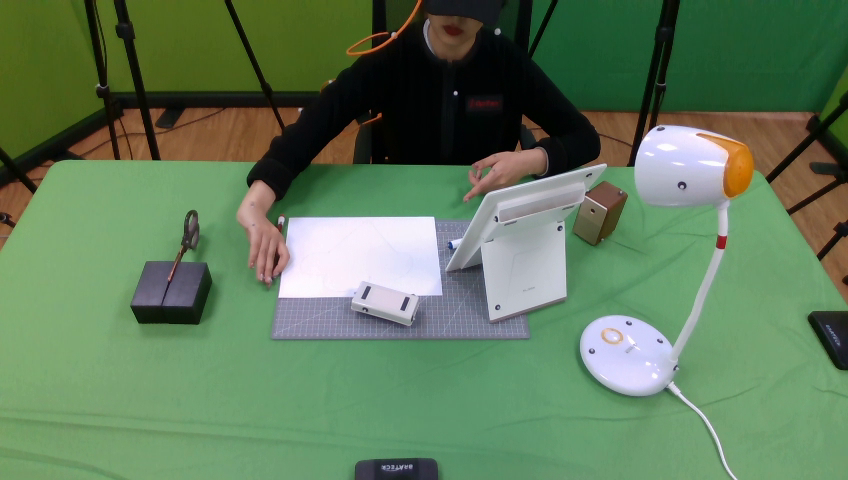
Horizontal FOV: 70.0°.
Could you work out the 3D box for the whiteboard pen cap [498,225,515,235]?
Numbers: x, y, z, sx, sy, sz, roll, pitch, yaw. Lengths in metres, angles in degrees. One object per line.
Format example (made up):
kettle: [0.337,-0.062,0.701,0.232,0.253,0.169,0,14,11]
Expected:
whiteboard pen cap: [0.166,-0.019,1.222,0.033,0.018,0.018,-14,49,-19]

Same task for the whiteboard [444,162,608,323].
whiteboard: [0.186,0.025,1.029,0.217,0.306,0.143,-14,68,-18]

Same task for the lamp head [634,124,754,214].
lamp head: [0.351,-0.089,0.775,0.112,0.113,0.122,-30,30,-28]

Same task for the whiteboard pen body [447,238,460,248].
whiteboard pen body: [0.112,-0.005,1.204,0.141,0.017,0.017,-13,49,-18]

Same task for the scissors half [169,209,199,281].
scissors half: [-0.438,0.007,1.098,0.013,0.040,0.174,3,48,-3]

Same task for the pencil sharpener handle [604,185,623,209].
pencil sharpener handle: [0.390,-0.091,1.235,0.030,0.068,0.036,-33,69,-31]

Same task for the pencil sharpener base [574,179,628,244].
pencil sharpener base: [0.355,-0.057,1.217,0.076,0.107,0.061,-33,56,-31]

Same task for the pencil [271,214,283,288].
pencil: [-0.282,0.018,1.162,0.012,0.012,0.192,-1,46,-5]

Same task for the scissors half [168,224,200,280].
scissors half: [-0.440,0.023,1.111,0.013,0.040,0.174,7,29,-6]

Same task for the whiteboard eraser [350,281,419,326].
whiteboard eraser: [-0.069,0.113,1.065,0.112,0.042,0.055,14,46,9]

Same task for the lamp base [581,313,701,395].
lamp base: [0.361,0.144,0.972,0.178,0.181,0.160,34,53,23]
